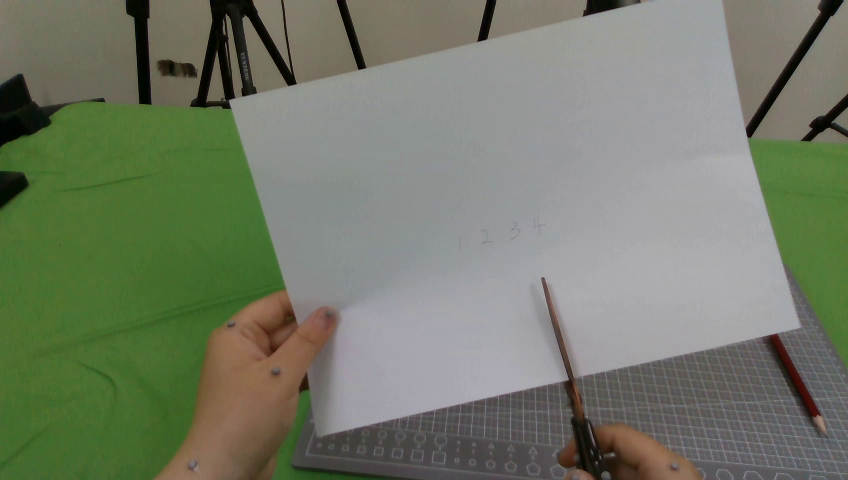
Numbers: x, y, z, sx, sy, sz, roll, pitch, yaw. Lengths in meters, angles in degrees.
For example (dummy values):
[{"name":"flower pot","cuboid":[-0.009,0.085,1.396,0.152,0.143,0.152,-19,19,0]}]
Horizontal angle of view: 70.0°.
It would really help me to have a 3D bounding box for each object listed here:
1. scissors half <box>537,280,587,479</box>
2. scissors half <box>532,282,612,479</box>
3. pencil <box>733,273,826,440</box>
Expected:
[{"name":"scissors half","cuboid":[0.090,0.109,0.370,0.013,0.175,0.040,-14,3,-6]},{"name":"scissors half","cuboid":[0.090,0.104,0.348,0.013,0.040,0.173,-15,65,-1]},{"name":"pencil","cuboid":[0.313,0.095,0.540,0.012,0.012,0.192,2,38,2]}]
